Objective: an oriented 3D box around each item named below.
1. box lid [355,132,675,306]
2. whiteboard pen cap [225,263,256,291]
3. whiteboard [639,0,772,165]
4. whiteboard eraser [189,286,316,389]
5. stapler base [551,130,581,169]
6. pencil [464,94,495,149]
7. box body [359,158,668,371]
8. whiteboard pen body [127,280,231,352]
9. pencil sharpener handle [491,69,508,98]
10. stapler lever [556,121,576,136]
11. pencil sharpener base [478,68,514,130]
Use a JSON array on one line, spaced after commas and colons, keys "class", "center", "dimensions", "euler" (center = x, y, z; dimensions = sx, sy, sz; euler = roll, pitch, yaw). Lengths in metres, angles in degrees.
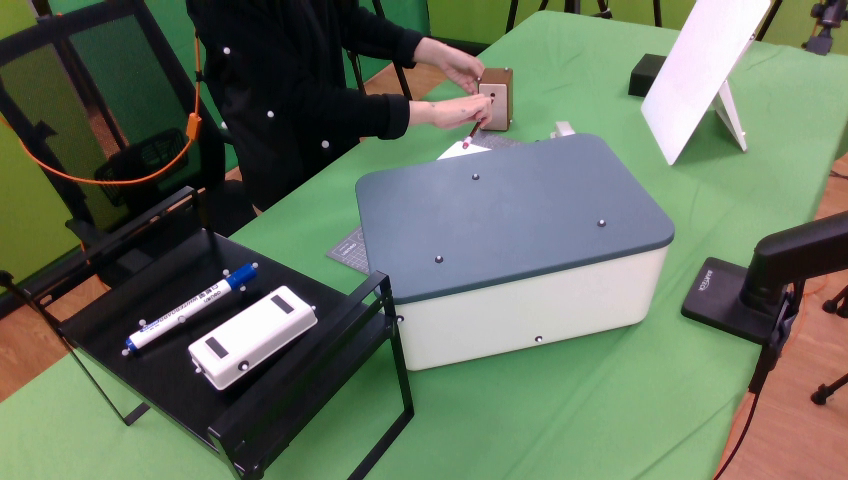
[{"class": "box lid", "center": [0.103, -0.042, 0.785], "dimensions": [0.372, 0.015, 0.261], "euler": [-12, 41, -5]}, {"class": "whiteboard pen cap", "center": [-0.204, 0.041, 0.668], "dimensions": [0.033, 0.018, 0.018], "euler": [-36, 48, -22]}, {"class": "whiteboard", "center": [0.543, -0.298, 1.076], "dimensions": [0.144, 0.305, 0.216], "euler": [12, 40, -7]}, {"class": "whiteboard eraser", "center": [-0.166, 0.096, 0.593], "dimensions": [0.113, 0.042, 0.055], "euler": [-36, 47, -29]}, {"class": "stapler base", "center": [0.268, -0.178, 1.142], "dimensions": [0.041, 0.024, 0.130], "euler": [0, 37, 3]}, {"class": "pencil", "center": [0.105, -0.222, 1.110], "dimensions": [0.012, 0.012, 0.194], "euler": [9, 43, 18]}, {"class": "box body", "center": [0.108, 0.014, 0.833], "dimensions": [0.365, 0.161, 0.252], "euler": [-11, 41, -5]}, {"class": "whiteboard pen body", "center": [-0.248, 0.072, 0.645], "dimensions": [0.141, 0.017, 0.017], "euler": [-35, 47, -23]}, {"class": "pencil sharpener handle", "center": [0.155, -0.329, 1.254], "dimensions": [0.036, 0.068, 0.030], "euler": [17, 43, 3]}, {"class": "stapler lever", "center": [0.266, -0.198, 1.128], "dimensions": [0.027, 0.040, 0.117], "euler": [0, 38, 3]}, {"class": "pencil sharpener base", "center": [0.148, -0.286, 1.225], "dimensions": [0.061, 0.107, 0.076], "euler": [5, 41, 15]}]
